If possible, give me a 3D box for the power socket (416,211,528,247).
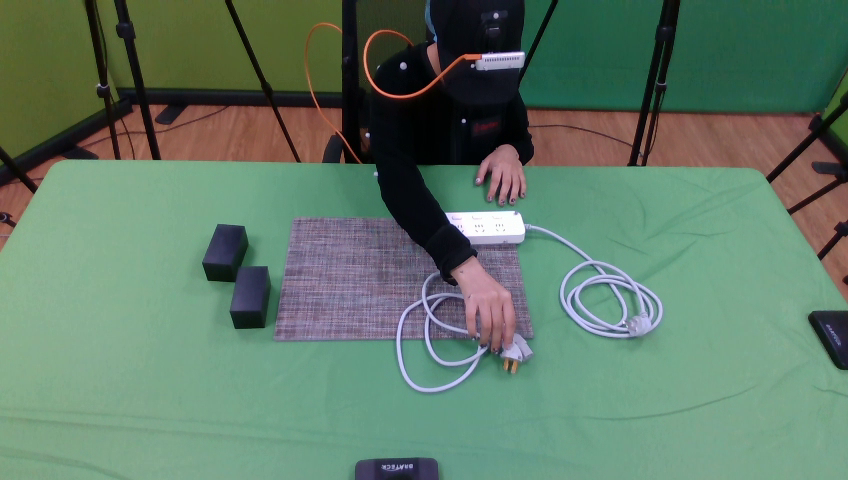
[{"bbox_3d":[0.097,-0.023,1.213,0.227,0.033,0.071,-1,47,-6],"label":"power socket"}]

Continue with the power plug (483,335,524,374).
[{"bbox_3d":[0.132,0.194,1.019,0.072,0.035,0.052,6,68,26],"label":"power plug"}]
